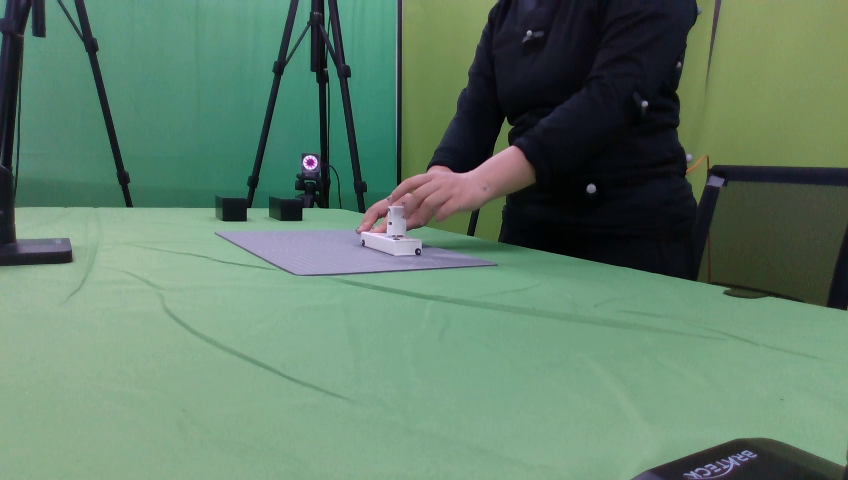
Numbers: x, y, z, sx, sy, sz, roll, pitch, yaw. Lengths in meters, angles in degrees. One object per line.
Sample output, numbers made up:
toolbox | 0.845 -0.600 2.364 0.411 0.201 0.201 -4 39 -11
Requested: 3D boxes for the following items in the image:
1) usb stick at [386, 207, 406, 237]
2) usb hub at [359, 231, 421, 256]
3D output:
usb stick | -0.043 -0.022 0.938 0.027 0.059 0.021 -6 10 -35
usb hub | -0.056 0.004 0.954 0.050 0.025 0.124 -2 8 -31
